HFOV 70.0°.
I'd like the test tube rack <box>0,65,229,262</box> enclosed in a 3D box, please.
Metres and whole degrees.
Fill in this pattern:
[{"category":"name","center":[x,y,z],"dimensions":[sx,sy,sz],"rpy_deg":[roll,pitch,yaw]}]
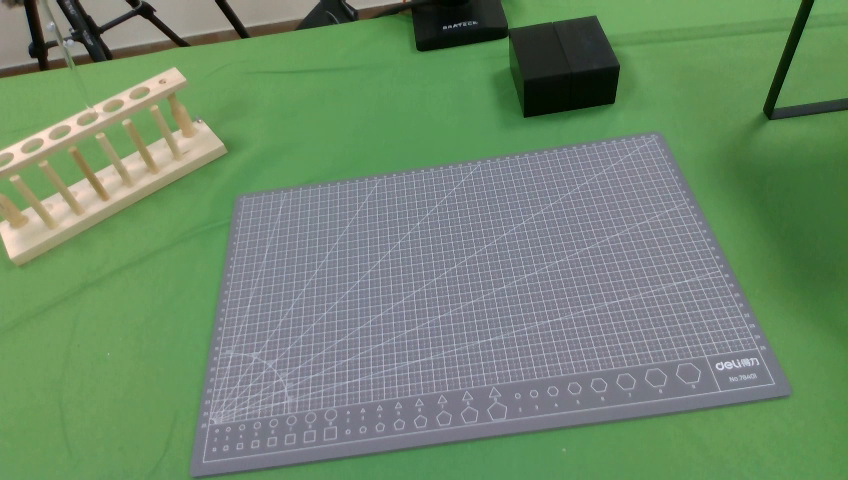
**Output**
[{"category":"test tube rack","center":[-0.344,-0.085,0.644],"dimensions":[0.242,0.086,0.066],"rpy_deg":[-34,54,-18]}]

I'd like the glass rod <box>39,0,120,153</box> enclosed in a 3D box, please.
[{"category":"glass rod","center":[-0.342,-0.152,0.613],"dimensions":[0.008,0.201,0.008],"rpy_deg":[-2,42,2]}]
